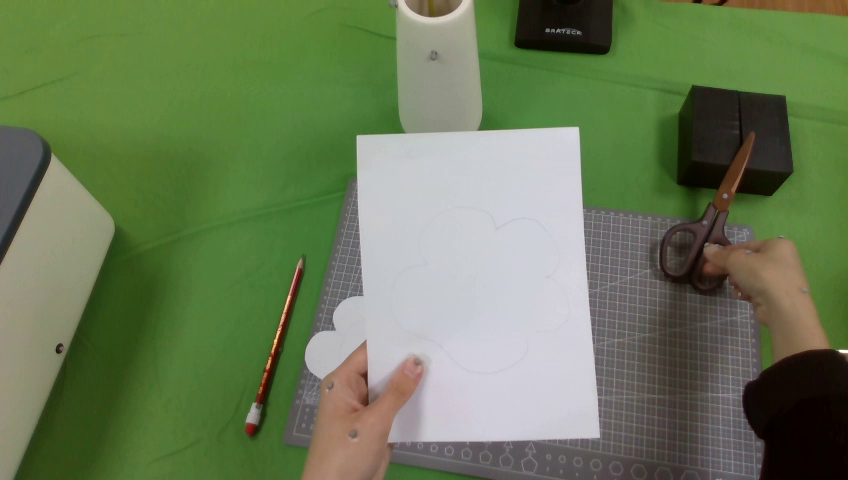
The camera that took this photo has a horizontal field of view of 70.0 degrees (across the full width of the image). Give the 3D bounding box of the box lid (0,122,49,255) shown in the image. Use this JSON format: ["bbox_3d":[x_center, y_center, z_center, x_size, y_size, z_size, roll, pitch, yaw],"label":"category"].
[{"bbox_3d":[-0.496,0.044,0.498,0.263,0.015,0.369,8,66,6],"label":"box lid"}]

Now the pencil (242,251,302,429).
[{"bbox_3d":[-0.153,0.097,0.627,0.012,0.012,0.192,9,65,7],"label":"pencil"}]

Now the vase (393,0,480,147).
[{"bbox_3d":[0.011,-0.186,0.642,0.098,0.201,0.097,-1,64,3],"label":"vase"}]

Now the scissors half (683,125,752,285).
[{"bbox_3d":[0.312,-0.036,0.630,0.040,0.013,0.175,16,92,6],"label":"scissors half"}]

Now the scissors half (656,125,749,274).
[{"bbox_3d":[0.293,-0.043,0.632,0.040,0.013,0.175,32,92,0],"label":"scissors half"}]

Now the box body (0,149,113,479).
[{"bbox_3d":[-0.492,0.077,0.566,0.254,0.161,0.361,7,66,6],"label":"box body"}]

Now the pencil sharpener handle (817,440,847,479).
[{"bbox_3d":[0.354,0.183,0.497,0.036,0.068,0.030,9,66,-8],"label":"pencil sharpener handle"}]

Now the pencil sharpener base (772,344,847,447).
[{"bbox_3d":[0.363,0.142,0.529,0.061,0.108,0.076,3,66,4],"label":"pencil sharpener base"}]

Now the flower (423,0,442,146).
[{"bbox_3d":[0.003,-0.234,0.572,0.044,0.365,0.038,1,48,7],"label":"flower"}]
